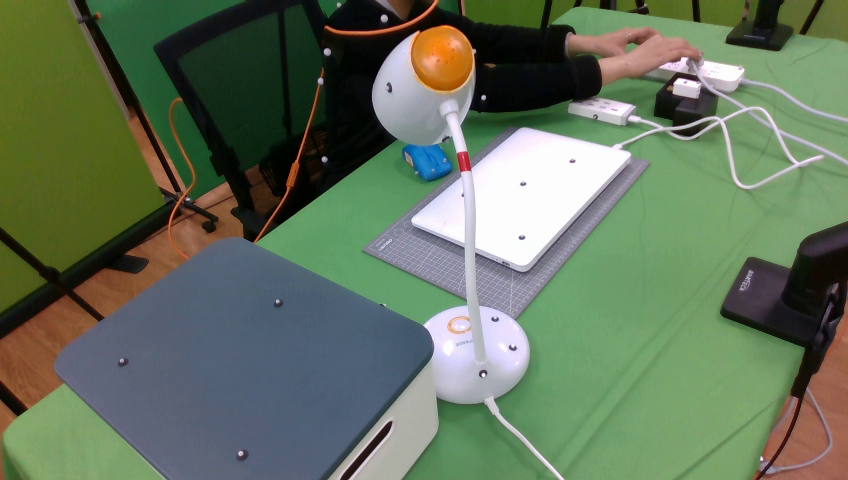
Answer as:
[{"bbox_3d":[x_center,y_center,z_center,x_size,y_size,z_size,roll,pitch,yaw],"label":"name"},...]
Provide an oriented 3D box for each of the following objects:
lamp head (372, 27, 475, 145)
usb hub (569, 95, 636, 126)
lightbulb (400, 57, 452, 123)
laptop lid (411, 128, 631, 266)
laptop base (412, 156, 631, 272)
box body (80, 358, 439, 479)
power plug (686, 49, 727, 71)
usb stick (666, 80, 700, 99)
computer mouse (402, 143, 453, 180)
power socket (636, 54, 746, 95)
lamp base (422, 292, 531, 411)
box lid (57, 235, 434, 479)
[{"bbox_3d":[0.007,-0.167,0.644,0.113,0.112,0.122,-22,2,-14],"label":"lamp head"},{"bbox_3d":[0.361,-0.263,1.229,0.124,0.025,0.049,24,48,34],"label":"usb hub"},{"bbox_3d":[0.004,-0.169,0.668,0.059,0.108,0.059,1,79,-3],"label":"lightbulb"},{"bbox_3d":[0.173,-0.093,1.049,0.239,0.013,0.358,24,50,36],"label":"laptop lid"},{"bbox_3d":[0.176,-0.083,1.055,0.233,0.023,0.355,21,48,36],"label":"laptop base"},{"bbox_3d":[-0.189,0.179,0.702,0.361,0.161,0.255,22,49,32],"label":"box body"},{"bbox_3d":[0.585,-0.367,1.257,0.072,0.053,0.035,12,58,17],"label":"power plug"},{"bbox_3d":[0.492,-0.288,1.152,0.058,0.027,0.021,20,50,34],"label":"usb stick"},{"bbox_3d":[0.006,-0.159,1.165,0.063,0.041,0.116,-21,45,-16],"label":"computer mouse"},{"bbox_3d":[0.565,-0.357,1.294,0.225,0.033,0.072,24,52,34],"label":"power socket"},{"bbox_3d":[0.055,0.095,0.740,0.161,0.181,0.177,-19,43,-11],"label":"lamp base"},{"bbox_3d":[-0.198,0.123,0.653,0.368,0.015,0.264,22,49,32],"label":"box lid"}]
